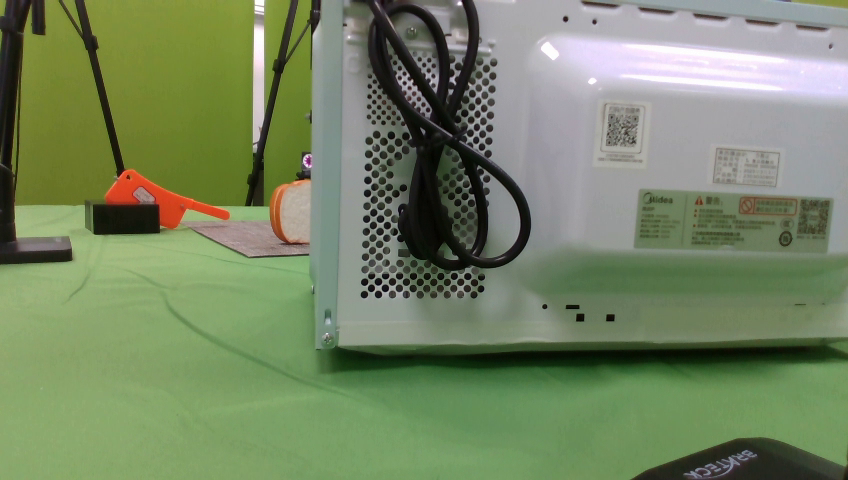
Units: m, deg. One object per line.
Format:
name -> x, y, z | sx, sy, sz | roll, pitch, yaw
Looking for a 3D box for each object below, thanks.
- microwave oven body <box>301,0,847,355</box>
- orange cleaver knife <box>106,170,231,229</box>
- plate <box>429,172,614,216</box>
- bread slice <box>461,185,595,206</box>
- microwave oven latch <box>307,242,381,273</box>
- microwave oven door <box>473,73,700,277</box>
microwave oven body -> 0.120, -0.053, 0.535 | 0.443, 0.260, 0.325 | 2, 7, -11
orange cleaver knife -> -0.458, -0.060, 1.097 | 0.212, 0.077, 0.012 | 23, -4, -38
plate -> 0.109, -0.051, 0.688 | 0.208, 0.039, 0.207 | -3, 3, 0
bread slice -> 0.128, -0.052, 0.703 | 0.133, 0.018, 0.107 | -1, 5, 40
microwave oven latch -> -0.086, 0.019, 0.656 | 0.079, 0.029, 0.030 | 2, 7, -10
microwave oven door -> 0.203, -0.095, 0.852 | 0.039, 0.243, 0.354 | -2, 8, -36
